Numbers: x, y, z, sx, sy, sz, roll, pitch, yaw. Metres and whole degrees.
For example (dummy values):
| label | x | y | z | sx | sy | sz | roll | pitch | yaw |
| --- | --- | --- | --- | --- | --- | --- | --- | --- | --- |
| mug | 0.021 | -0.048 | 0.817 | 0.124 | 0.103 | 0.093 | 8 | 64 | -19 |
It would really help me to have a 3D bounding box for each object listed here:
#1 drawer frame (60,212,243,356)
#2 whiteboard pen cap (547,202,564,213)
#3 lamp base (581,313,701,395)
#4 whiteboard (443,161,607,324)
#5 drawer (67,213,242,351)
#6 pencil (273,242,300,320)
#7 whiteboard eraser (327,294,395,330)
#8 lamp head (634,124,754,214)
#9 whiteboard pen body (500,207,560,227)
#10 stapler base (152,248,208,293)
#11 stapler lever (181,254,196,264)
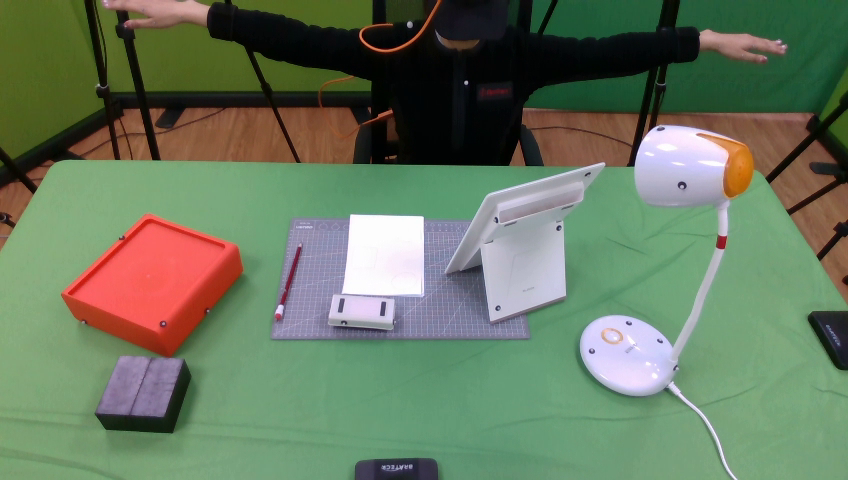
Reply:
| label | x | y | z | sx | sy | sz | roll | pitch | yaw |
| --- | --- | --- | --- | --- | --- | --- | --- | --- | --- |
| drawer frame | -0.462 | 0.070 | 1.053 | 0.201 | 0.083 | 0.213 | 18 | 48 | 12 |
| whiteboard pen cap | 0.277 | -0.066 | 1.275 | 0.033 | 0.018 | 0.018 | -18 | 50 | -15 |
| lamp base | 0.361 | 0.144 | 0.973 | 0.178 | 0.181 | 0.160 | 34 | 53 | 23 |
| whiteboard | 0.185 | 0.026 | 1.028 | 0.217 | 0.306 | 0.143 | -15 | 68 | -18 |
| drawer | -0.461 | 0.068 | 1.057 | 0.194 | 0.073 | 0.211 | 19 | 48 | 13 |
| pencil | -0.249 | 0.070 | 1.115 | 0.012 | 0.012 | 0.193 | 5 | 44 | 1 |
| whiteboard eraser | -0.109 | 0.127 | 1.049 | 0.113 | 0.042 | 0.055 | 4 | 45 | -1 |
| lamp head | 0.351 | -0.089 | 0.775 | 0.112 | 0.113 | 0.122 | -30 | 30 | -28 |
| whiteboard pen body | 0.222 | -0.051 | 1.259 | 0.141 | 0.017 | 0.017 | -15 | 49 | -16 |
| stapler base | -0.443 | 0.049 | 1.101 | 0.130 | 0.024 | 0.041 | 33 | 38 | 28 |
| stapler lever | -0.440 | 0.026 | 1.086 | 0.117 | 0.040 | 0.027 | 31 | 37 | 30 |
